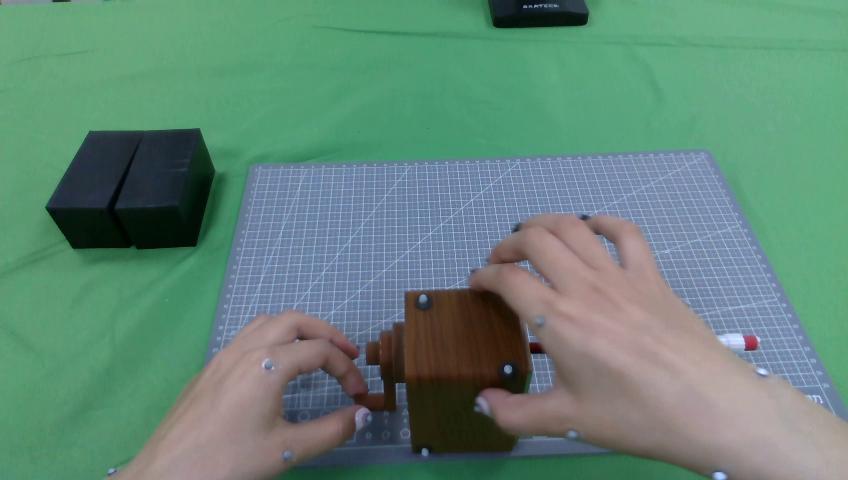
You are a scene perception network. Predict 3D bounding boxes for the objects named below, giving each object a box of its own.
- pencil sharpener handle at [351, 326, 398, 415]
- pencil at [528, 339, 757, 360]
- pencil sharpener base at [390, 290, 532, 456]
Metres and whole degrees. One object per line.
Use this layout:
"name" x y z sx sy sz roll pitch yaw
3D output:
"pencil sharpener handle" -0.031 0.082 0.364 0.030 0.068 0.035 -2 35 0
"pencil" 0.100 0.066 0.359 0.194 0.012 0.012 -1 48 -1
"pencil sharpener base" 0.020 0.086 0.377 0.077 0.108 0.061 -2 48 0
